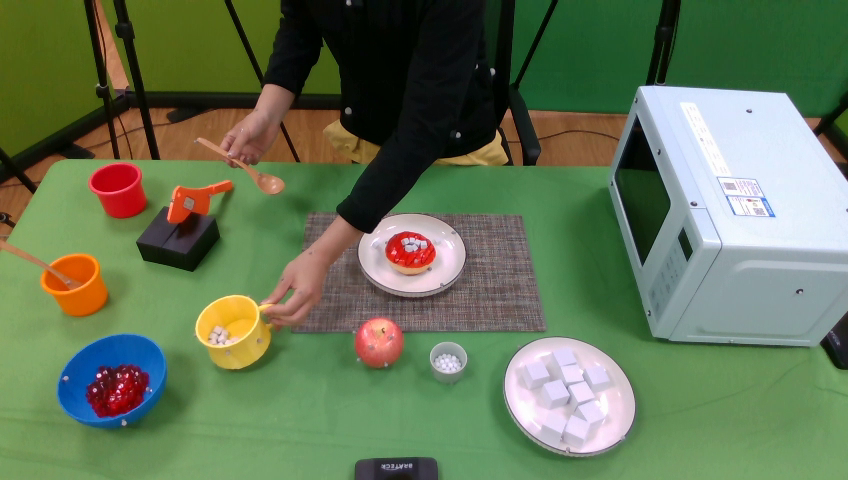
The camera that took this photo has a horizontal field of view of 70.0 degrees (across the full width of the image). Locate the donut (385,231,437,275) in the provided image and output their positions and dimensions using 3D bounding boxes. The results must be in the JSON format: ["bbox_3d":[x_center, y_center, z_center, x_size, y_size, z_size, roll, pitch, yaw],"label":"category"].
[{"bbox_3d":[-0.025,0.024,1.142,0.099,0.048,0.098,4,43,-3],"label":"donut"}]

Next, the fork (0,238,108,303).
[{"bbox_3d":[-0.633,0.048,1.017,0.208,0.018,0.028,40,41,-27],"label":"fork"}]

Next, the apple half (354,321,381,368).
[{"bbox_3d":[-0.097,0.176,0.985,0.033,0.081,0.080,-12,48,-20],"label":"apple half"}]

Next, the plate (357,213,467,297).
[{"bbox_3d":[-0.023,0.032,1.150,0.209,0.038,0.208,2,46,-2],"label":"plate"}]

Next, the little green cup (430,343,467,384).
[{"bbox_3d":[0.039,0.203,0.993,0.061,0.039,0.061,2,46,-2],"label":"little green cup"}]

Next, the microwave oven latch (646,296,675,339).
[{"bbox_3d":[0.412,0.134,1.061,0.030,0.029,0.078,4,45,1],"label":"microwave oven latch"}]

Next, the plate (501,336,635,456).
[{"bbox_3d":[0.225,0.249,0.963,0.208,0.039,0.206,2,46,-2],"label":"plate"}]

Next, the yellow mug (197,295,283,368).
[{"bbox_3d":[-0.291,0.140,0.979,0.131,0.064,0.099,-24,49,-16],"label":"yellow mug"}]

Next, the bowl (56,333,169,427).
[{"bbox_3d":[-0.456,0.223,0.911,0.151,0.077,0.150,3,46,-2],"label":"bowl"}]

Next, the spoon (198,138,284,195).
[{"bbox_3d":[-0.351,-0.145,1.157,0.193,0.022,0.041,34,65,1],"label":"spoon"}]

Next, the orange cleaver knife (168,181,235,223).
[{"bbox_3d":[-0.436,-0.078,1.196,0.012,0.077,0.211,16,15,10],"label":"orange cleaver knife"}]

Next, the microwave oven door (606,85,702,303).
[{"bbox_3d":[0.423,-0.094,1.140,0.039,0.245,0.353,2,46,-1],"label":"microwave oven door"}]

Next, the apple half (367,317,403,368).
[{"bbox_3d":[-0.061,0.167,0.998,0.053,0.075,0.080,-11,44,-20],"label":"apple half"}]

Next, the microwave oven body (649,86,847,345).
[{"bbox_3d":[0.568,-0.053,1.118,0.326,0.261,0.439,2,45,-1],"label":"microwave oven body"}]
